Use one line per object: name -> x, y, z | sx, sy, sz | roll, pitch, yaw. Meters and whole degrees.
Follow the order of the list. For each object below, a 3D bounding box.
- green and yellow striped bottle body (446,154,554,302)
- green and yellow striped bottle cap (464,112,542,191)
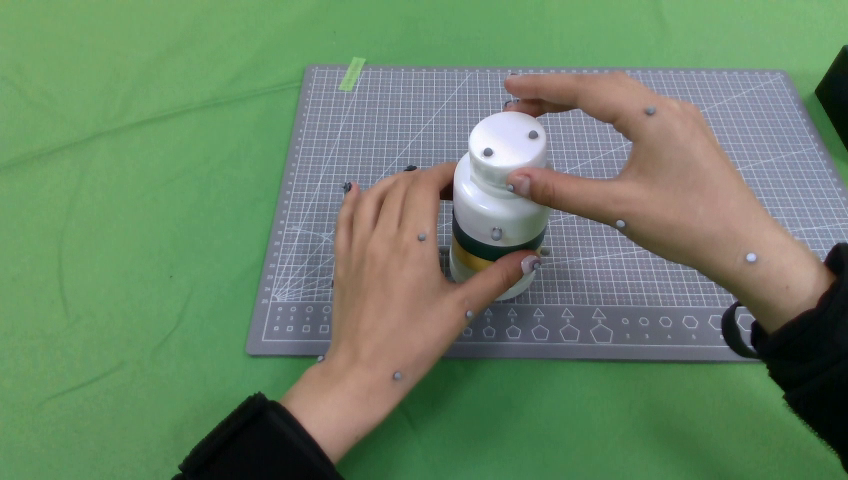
green and yellow striped bottle body -> 0.047, -0.016, 0.389 | 0.063, 0.121, 0.062 | 0, 54, 1
green and yellow striped bottle cap -> 0.045, -0.051, 0.343 | 0.045, 0.020, 0.045 | -4, 56, 6
